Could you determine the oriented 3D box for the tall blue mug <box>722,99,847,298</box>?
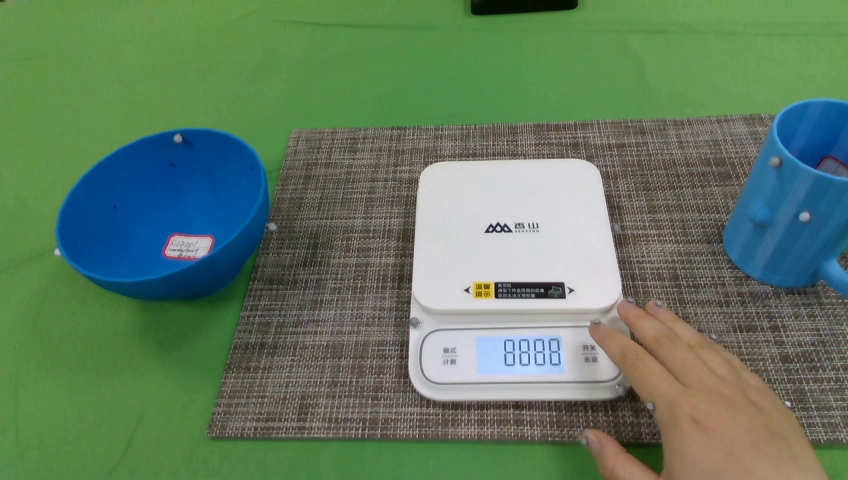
[{"bbox_3d":[0.270,-0.021,0.406,0.106,0.109,0.077,32,60,28],"label":"tall blue mug"}]

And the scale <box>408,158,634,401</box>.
[{"bbox_3d":[0.065,0.019,0.444,0.148,0.032,0.199,-1,52,5],"label":"scale"}]

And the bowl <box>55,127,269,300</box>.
[{"bbox_3d":[-0.186,-0.008,0.466,0.151,0.077,0.150,-3,51,4],"label":"bowl"}]
